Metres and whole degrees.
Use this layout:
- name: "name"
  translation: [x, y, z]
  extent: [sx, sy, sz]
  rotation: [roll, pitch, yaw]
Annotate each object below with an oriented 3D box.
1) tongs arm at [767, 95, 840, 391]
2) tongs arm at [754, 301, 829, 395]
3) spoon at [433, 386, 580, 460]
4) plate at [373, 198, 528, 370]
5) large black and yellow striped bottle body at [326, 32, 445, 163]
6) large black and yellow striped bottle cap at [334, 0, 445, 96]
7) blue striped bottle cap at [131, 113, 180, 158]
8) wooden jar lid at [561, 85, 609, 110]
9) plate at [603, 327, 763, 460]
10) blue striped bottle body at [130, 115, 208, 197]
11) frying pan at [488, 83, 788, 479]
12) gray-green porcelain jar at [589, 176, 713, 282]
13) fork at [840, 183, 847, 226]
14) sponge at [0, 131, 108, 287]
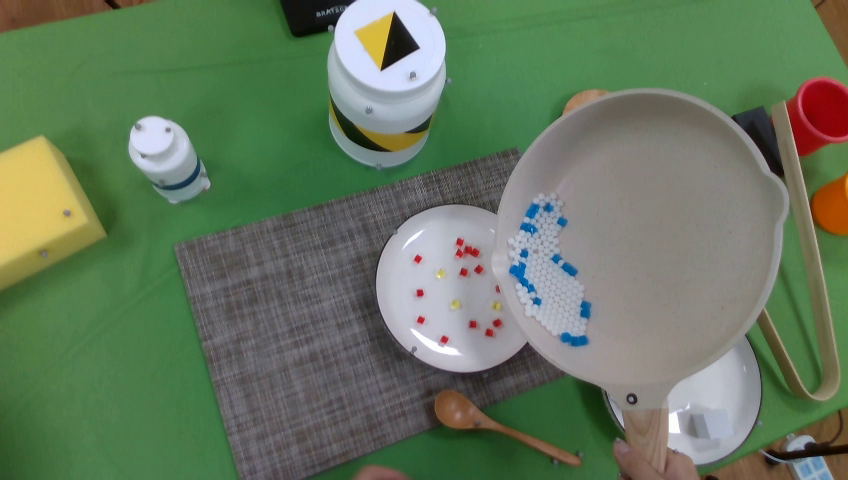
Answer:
- name: "tongs arm"
  translation: [0.494, 0.001, 0.792]
  extent: [0.028, 0.027, 0.387]
  rotation: [-9, 87, -18]
- name: "tongs arm"
  translation: [0.415, 0.026, 0.773]
  extent: [0.051, 0.026, 0.384]
  rotation: [-24, 90, -15]
- name: "spoon"
  translation: [0.098, 0.220, 0.709]
  extent: [0.194, 0.022, 0.041]
  rotation: [23, 56, -4]
- name: "plate"
  translation: [0.041, 0.052, 0.733]
  extent: [0.209, 0.038, 0.208]
  rotation: [2, 76, -8]
- name: "large black and yellow striped bottle body"
  translation: [-0.047, -0.183, 0.707]
  extent: [0.131, 0.184, 0.130]
  rotation: [2, 75, -8]
- name: "large black and yellow striped bottle cap"
  translation: [-0.035, -0.204, 0.625]
  extent: [0.115, 0.019, 0.114]
  rotation: [2, 74, -7]
- name: "blue striped bottle cap"
  translation: [-0.280, -0.109, 0.631]
  extent: [0.044, 0.021, 0.044]
  rotation: [2, 73, -5]
- name: "wooden jar lid"
  translation: [0.237, -0.161, 0.831]
  extent: [0.108, 0.021, 0.108]
  rotation: [2, 77, -8]
- name: "plate"
  translation: [0.314, 0.163, 0.751]
  extent: [0.208, 0.039, 0.206]
  rotation: [2, 75, -8]
- name: "blue striped bottle body"
  translation: [-0.287, -0.097, 0.680]
  extent: [0.063, 0.121, 0.062]
  rotation: [2, 75, -8]
- name: "frying pan"
  translation: [0.201, 0.094, 0.581]
  extent: [0.104, 0.305, 0.485]
  rotation: [18, 67, -43]
- name: "gray-green porcelain jar"
  translation: [0.269, -0.008, 0.741]
  extent: [0.106, 0.127, 0.105]
  rotation: [2, 75, -8]
- name: "fork"
  translation: [0.565, -0.101, 0.798]
  extent: [0.028, 0.018, 0.209]
  rotation: [-31, 126, -7]
- name: "sponge"
  translation: [-0.478, -0.015, 0.661]
  extent: [0.207, 0.061, 0.118]
  rotation: [-32, 82, -16]
